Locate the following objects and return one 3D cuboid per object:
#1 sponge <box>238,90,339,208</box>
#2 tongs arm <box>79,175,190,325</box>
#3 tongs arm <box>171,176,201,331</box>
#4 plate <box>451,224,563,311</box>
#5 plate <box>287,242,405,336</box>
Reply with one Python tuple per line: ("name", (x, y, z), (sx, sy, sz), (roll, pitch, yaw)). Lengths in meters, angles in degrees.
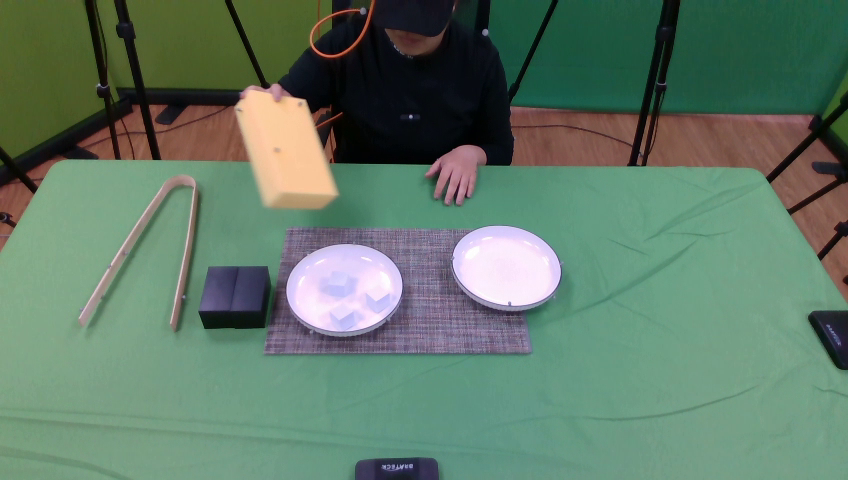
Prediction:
("sponge", (-0.246, -0.162, 1.098), (0.118, 0.061, 0.206), (-5, 68, -47))
("tongs arm", (-0.534, 0.005, 1.145), (0.051, 0.026, 0.382), (6, 45, 1))
("tongs arm", (-0.453, 0.010, 1.151), (0.028, 0.028, 0.385), (-6, 47, -6))
("plate", (0.154, 0.053, 1.140), (0.209, 0.038, 0.208), (2, 46, -2))
("plate", (-0.138, 0.090, 1.085), (0.208, 0.039, 0.206), (2, 46, -2))
